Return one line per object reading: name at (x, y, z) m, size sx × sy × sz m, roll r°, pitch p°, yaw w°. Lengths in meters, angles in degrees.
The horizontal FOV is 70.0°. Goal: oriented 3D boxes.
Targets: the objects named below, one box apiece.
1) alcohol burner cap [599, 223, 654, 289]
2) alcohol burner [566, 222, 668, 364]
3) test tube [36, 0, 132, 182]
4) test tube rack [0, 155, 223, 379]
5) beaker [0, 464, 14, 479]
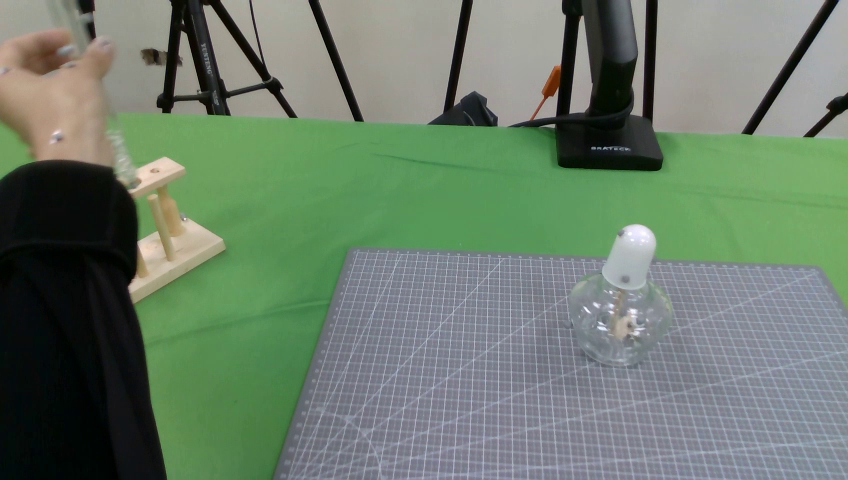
alcohol burner cap at (0.150, 0.010, 0.441) m, size 0.034 × 0.048 × 0.033 m, roll 3°, pitch 39°, yaw -2°
alcohol burner at (0.150, 0.037, 0.464) m, size 0.078 × 0.120 × 0.077 m, roll -1°, pitch 37°, yaw 1°
test tube at (-0.249, -0.108, 0.450) m, size 0.017 × 0.151 × 0.017 m, roll -2°, pitch 38°, yaw 2°
test tube rack at (-0.304, 0.020, 0.527) m, size 0.066 × 0.086 × 0.242 m, roll 27°, pitch 46°, yaw 31°
beaker at (-0.266, 0.161, 0.336) m, size 0.084 × 0.101 × 0.073 m, roll -13°, pitch 40°, yaw -13°
